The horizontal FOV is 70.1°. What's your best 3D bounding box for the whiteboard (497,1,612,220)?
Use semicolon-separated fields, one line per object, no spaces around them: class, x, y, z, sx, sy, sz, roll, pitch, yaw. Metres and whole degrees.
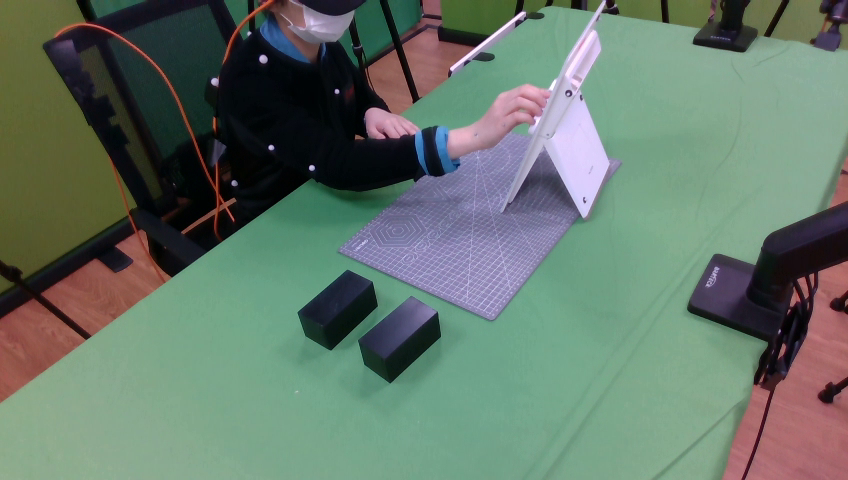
whiteboard;0.260;-0.177;0.963;0.143;0.306;0.217;28;49;9

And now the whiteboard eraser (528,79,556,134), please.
whiteboard eraser;0.192;-0.211;0.961;0.019;0.041;0.101;27;78;9
